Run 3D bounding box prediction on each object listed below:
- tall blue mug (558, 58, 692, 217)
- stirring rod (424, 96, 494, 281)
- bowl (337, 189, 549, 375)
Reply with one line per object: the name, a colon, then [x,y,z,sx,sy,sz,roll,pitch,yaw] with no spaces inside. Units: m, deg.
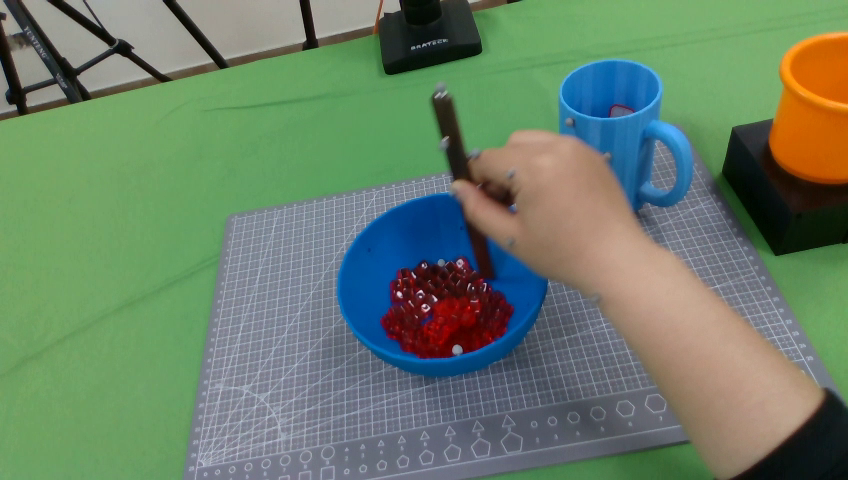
tall blue mug: [0.165,-0.079,0.495,0.106,0.109,0.077,10,53,21]
stirring rod: [0.027,-0.024,0.400,0.014,0.178,0.006,9,55,24]
bowl: [0.018,0.042,0.448,0.151,0.077,0.150,-7,49,8]
